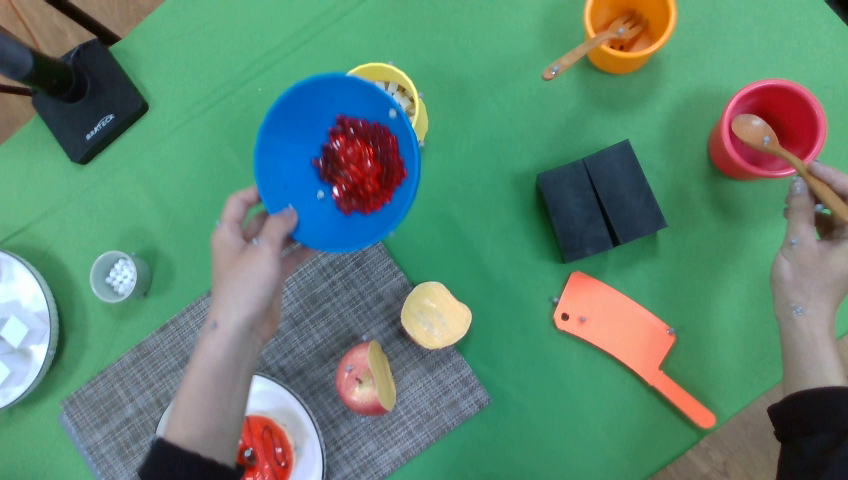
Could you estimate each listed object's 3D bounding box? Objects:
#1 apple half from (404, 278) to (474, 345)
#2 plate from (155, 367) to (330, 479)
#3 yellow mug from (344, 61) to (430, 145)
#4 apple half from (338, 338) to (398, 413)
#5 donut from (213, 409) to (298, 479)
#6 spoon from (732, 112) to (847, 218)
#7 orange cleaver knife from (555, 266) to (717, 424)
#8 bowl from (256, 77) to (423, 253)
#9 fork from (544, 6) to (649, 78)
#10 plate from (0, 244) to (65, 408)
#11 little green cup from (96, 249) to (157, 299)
[{"bbox_3d":[0.012,0.086,0.678,0.081,0.033,0.080,6,59,-10],"label":"apple half"},{"bbox_3d":[-0.207,0.249,0.702,0.209,0.038,0.209,0,87,8],"label":"plate"},{"bbox_3d":[-0.050,-0.129,0.688,0.100,0.064,0.130,11,90,8],"label":"yellow mug"},{"bbox_3d":[-0.065,0.152,0.669,0.053,0.075,0.080,-19,88,11],"label":"apple half"},{"bbox_3d":[-0.191,0.242,0.689,0.099,0.048,0.099,0,89,8],"label":"donut"},{"bbox_3d":[0.331,-0.073,0.545,0.042,0.192,0.022,3,121,-3],"label":"spoon"},{"bbox_3d":[0.236,0.112,0.658,0.210,0.012,0.077,38,88,9],"label":"orange cleaver knife"},{"bbox_3d":[-0.065,-0.065,0.552,0.151,0.077,0.151,1,95,14],"label":"bowl"},{"bbox_3d":[0.178,-0.203,0.616,0.028,0.019,0.207,47,51,7],"label":"fork"},{"bbox_3d":[-0.542,0.108,0.762,0.207,0.039,0.207,0,87,9],"label":"plate"},{"bbox_3d":[-0.361,0.042,0.739,0.061,0.039,0.061,-1,87,9],"label":"little green cup"}]
